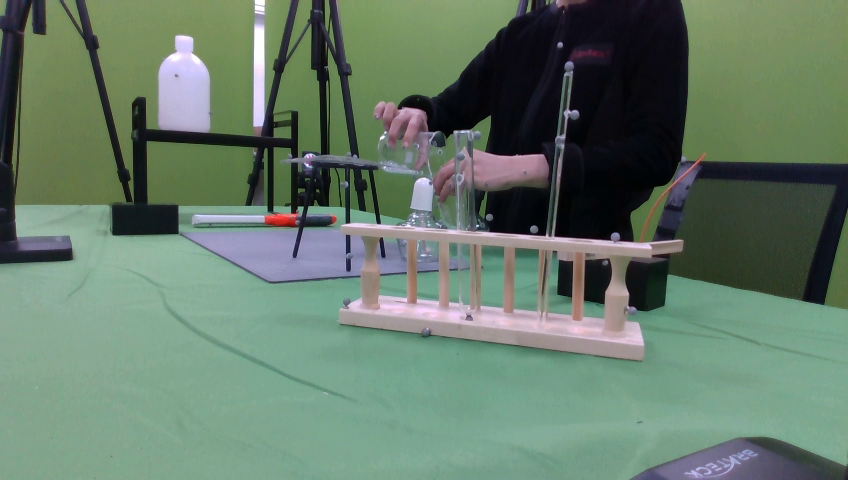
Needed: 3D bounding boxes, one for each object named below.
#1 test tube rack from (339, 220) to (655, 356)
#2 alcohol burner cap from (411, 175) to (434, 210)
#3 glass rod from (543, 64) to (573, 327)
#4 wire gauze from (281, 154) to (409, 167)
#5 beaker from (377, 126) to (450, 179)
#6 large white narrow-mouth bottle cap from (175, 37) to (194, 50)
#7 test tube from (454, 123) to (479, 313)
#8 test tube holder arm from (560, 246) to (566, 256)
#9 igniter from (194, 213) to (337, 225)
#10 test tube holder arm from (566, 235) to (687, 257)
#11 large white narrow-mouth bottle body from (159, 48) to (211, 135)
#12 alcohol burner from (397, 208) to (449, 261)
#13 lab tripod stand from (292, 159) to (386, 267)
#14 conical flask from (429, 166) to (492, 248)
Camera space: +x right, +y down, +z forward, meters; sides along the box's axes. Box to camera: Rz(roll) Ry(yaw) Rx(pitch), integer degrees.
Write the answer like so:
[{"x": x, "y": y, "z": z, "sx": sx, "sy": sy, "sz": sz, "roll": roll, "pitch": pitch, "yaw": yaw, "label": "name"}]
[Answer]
[{"x": 0.056, "y": 0.032, "z": 0.495, "sx": 0.242, "sy": 0.085, "sz": 0.067, "roll": 4, "pitch": 7, "yaw": 15, "label": "test tube rack"}, {"x": 0.000, "y": -0.067, "z": 0.842, "sx": 0.034, "sy": 0.048, "sz": 0.034, "roll": 7, "pitch": 8, "yaw": -1, "label": "alcohol burner cap"}, {"x": 0.101, "y": -0.028, "z": 0.453, "sx": 0.008, "sy": 0.199, "sz": 0.008, "roll": 2, "pitch": 13, "yaw": 0, "label": "glass rod"}, {"x": -0.104, "y": -0.104, "z": 0.784, "sx": 0.126, "sy": 0.011, "sz": 0.121, "roll": -2, "pitch": 8, "yaw": -38, "label": "wire gauze"}, {"x": -0.019, "y": -0.143, "z": 0.975, "sx": 0.100, "sy": 0.084, "sz": 0.074, "roll": 8, "pitch": 9, "yaw": 27, "label": "beaker"}, {"x": -0.501, "y": -0.410, "z": 1.264, "sx": 0.038, "sy": 0.024, "sz": 0.037, "roll": 2, "pitch": 7, "yaw": 0, "label": "large white narrow-mouth bottle cap"}, {"x": 0.034, "y": -0.016, "z": 0.477, "sx": 0.017, "sy": 0.150, "sz": 0.017, "roll": -2, "pitch": 9, "yaw": 1, "label": "test tube"}, {"x": 0.173, "y": 0.007, "z": 0.612, "sx": 0.088, "sy": 0.015, "sz": 0.010, "roll": -3, "pitch": 9, "yaw": -30, "label": "test tube holder arm"}, {"x": -0.306, "y": -0.042, "z": 1.196, "sx": 0.278, "sy": 0.025, "sz": 0.057, "roll": -2, "pitch": -2, "yaw": -31, "label": "igniter"}, {"x": 0.215, "y": 0.006, "z": 0.630, "sx": 0.179, "sy": 0.015, "sz": 0.013, "roll": -3, "pitch": 9, "yaw": -31, "label": "test tube holder arm"}, {"x": -0.503, "y": -0.323, "z": 1.275, "sx": 0.102, "sy": 0.194, "sz": 0.102, "roll": 2, "pitch": 7, "yaw": 0, "label": "large white narrow-mouth bottle body"}, {"x": -0.002, "y": -0.031, "z": 0.846, "sx": 0.078, "sy": 0.119, "sz": 0.078, "roll": 0, "pitch": 6, "yaw": 0, "label": "alcohol burner"}, {"x": -0.105, "y": -0.039, "z": 0.797, "sx": 0.148, "sy": 0.131, "sz": 0.148, "roll": 2, "pitch": 5, "yaw": 0, "label": "lab tripod stand"}, {"x": 0.048, "y": -0.054, "z": 0.942, "sx": 0.075, "sy": 0.121, "sz": 0.075, "roll": -26, "pitch": -13, "yaw": -6, "label": "conical flask"}]
